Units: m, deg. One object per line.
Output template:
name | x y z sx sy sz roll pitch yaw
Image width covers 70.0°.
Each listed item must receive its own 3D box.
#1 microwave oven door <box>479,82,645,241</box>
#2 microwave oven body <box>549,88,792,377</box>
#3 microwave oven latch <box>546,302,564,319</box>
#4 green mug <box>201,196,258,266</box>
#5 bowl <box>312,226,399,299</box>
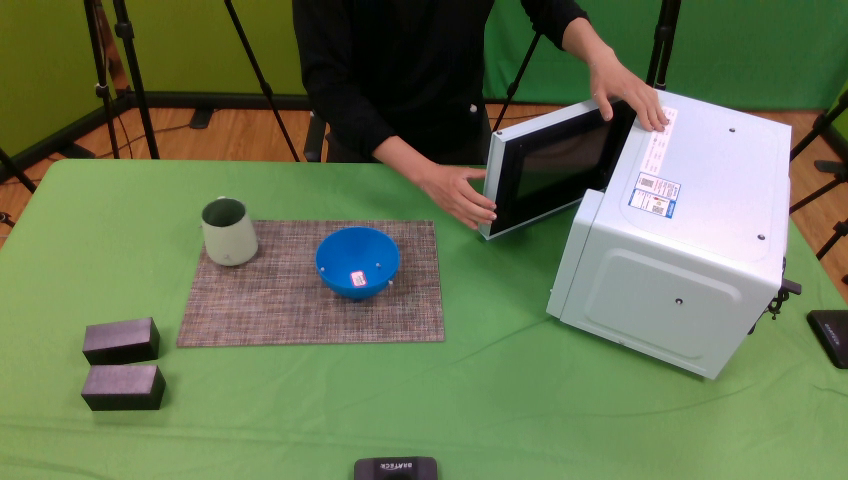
microwave oven door | 0.272 -0.156 1.189 0.356 0.245 0.039 -23 50 -23
microwave oven body | 0.456 -0.028 1.088 0.325 0.261 0.440 20 47 16
microwave oven latch | 0.242 0.102 1.081 0.030 0.029 0.079 22 48 17
green mug | -0.366 -0.025 1.130 0.092 0.105 0.124 -13 48 -16
bowl | -0.120 0.054 1.091 0.151 0.077 0.150 2 46 -2
